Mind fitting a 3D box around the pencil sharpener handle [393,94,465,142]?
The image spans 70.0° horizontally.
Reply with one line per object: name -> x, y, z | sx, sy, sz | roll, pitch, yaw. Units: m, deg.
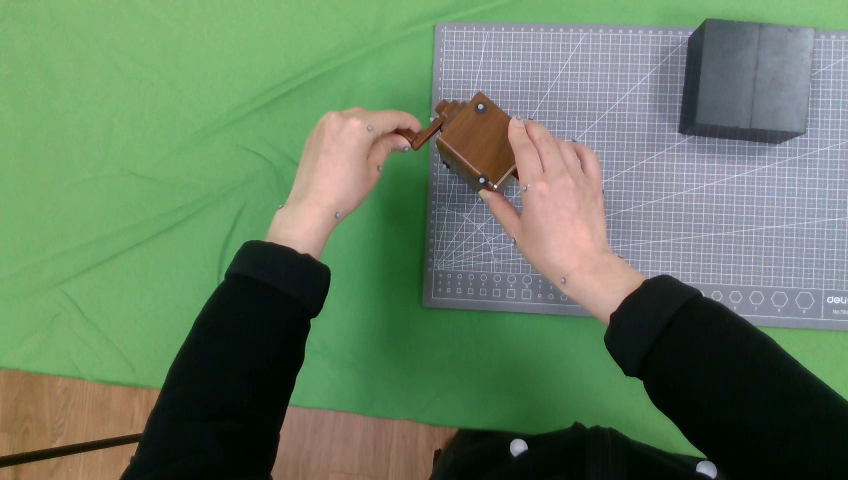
pencil sharpener handle -> 0.005, -0.116, 0.547 | 0.030, 0.036, 0.067 | 42, 65, 5

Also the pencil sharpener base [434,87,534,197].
pencil sharpener base -> 0.055, -0.091, 0.578 | 0.076, 0.107, 0.061 | 42, 92, 5

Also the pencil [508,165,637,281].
pencil -> 0.118, -0.030, 0.550 | 0.194, 0.012, 0.012 | 42, 92, 1
